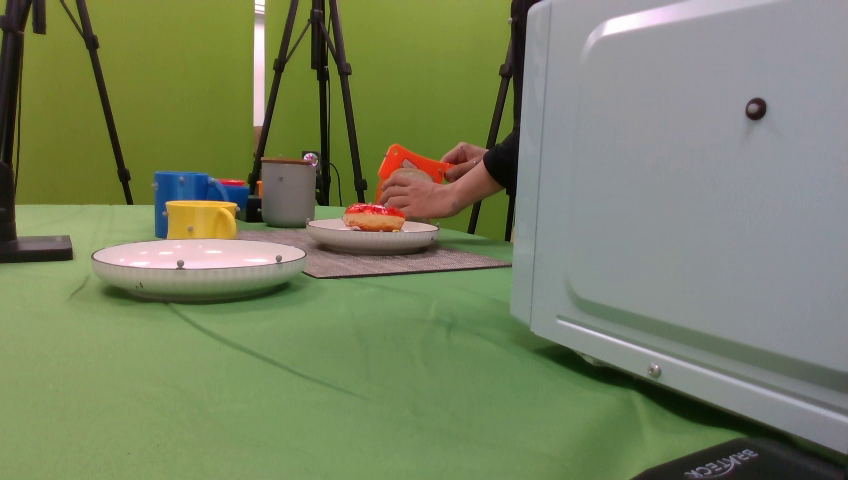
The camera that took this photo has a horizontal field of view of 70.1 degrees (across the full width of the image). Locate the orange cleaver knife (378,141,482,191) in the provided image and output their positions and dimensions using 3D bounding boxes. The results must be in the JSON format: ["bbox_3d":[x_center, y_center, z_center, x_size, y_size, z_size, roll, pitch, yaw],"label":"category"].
[{"bbox_3d":[0.014,-0.132,1.142,0.212,0.077,0.012,8,5,-27],"label":"orange cleaver knife"}]

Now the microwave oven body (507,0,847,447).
[{"bbox_3d":[0.331,-0.042,0.425,0.444,0.260,0.324,-2,8,-31],"label":"microwave oven body"}]

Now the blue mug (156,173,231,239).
[{"bbox_3d":[-0.381,-0.057,1.004,0.117,0.106,0.082,0,8,-12],"label":"blue mug"}]

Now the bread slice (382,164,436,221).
[{"bbox_3d":[-0.032,-0.074,1.121,0.107,0.134,0.018,0,13,-25],"label":"bread slice"}]

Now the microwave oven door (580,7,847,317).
[{"bbox_3d":[0.295,-0.067,0.570,0.358,0.243,0.039,-3,8,-31],"label":"microwave oven door"}]

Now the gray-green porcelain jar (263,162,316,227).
[{"bbox_3d":[-0.271,-0.092,1.217,0.106,0.126,0.106,2,7,0],"label":"gray-green porcelain jar"}]

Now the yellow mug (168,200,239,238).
[{"bbox_3d":[-0.319,-0.023,0.904,0.130,0.064,0.100,9,11,36],"label":"yellow mug"}]

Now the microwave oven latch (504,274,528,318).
[{"bbox_3d":[0.100,0.041,0.471,0.079,0.029,0.030,-1,8,-28],"label":"microwave oven latch"}]

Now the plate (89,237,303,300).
[{"bbox_3d":[-0.233,0.029,0.637,0.208,0.039,0.207,2,7,0],"label":"plate"}]

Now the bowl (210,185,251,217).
[{"bbox_3d":[-0.408,-0.064,1.155,0.151,0.077,0.151,2,8,0],"label":"bowl"}]

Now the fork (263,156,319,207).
[{"bbox_3d":[-0.331,-0.144,1.505,0.207,0.018,0.028,-42,-20,22],"label":"fork"}]

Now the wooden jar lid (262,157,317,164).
[{"bbox_3d":[-0.269,-0.154,1.208,0.108,0.020,0.108,3,4,0],"label":"wooden jar lid"}]

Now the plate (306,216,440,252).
[{"bbox_3d":[-0.079,-0.011,0.950,0.209,0.038,0.209,2,8,0],"label":"plate"}]

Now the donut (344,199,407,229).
[{"bbox_3d":[-0.076,-0.039,0.949,0.099,0.048,0.099,2,4,0],"label":"donut"}]

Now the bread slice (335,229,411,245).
[{"bbox_3d":[-0.074,-0.006,0.938,0.105,0.019,0.131,-2,4,-19],"label":"bread slice"}]

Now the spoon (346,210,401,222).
[{"bbox_3d":[-0.121,-0.060,1.400,0.042,0.021,0.192,-28,25,-37],"label":"spoon"}]
